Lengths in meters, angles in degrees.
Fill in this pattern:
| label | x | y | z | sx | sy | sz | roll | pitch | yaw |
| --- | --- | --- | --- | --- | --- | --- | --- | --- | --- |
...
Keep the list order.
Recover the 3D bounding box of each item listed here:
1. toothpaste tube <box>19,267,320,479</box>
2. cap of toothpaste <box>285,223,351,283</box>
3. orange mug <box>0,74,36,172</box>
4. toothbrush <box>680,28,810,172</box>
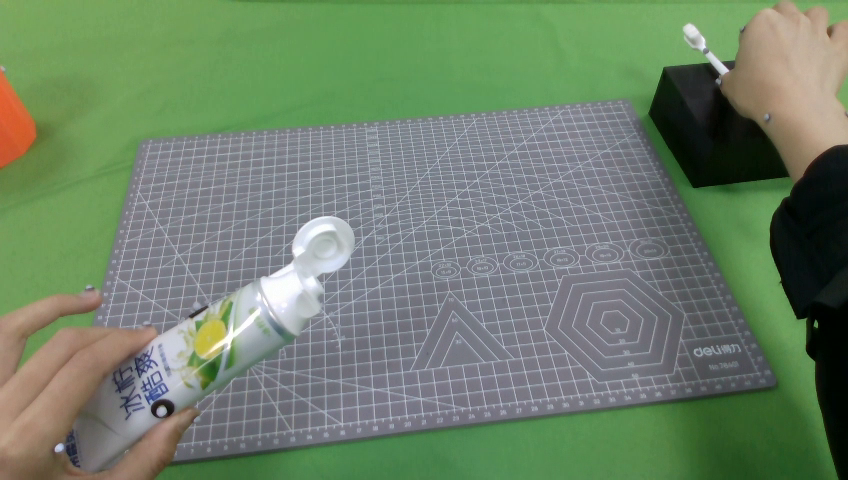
| label | x | y | z | sx | sy | sz | roll | pitch | yaw |
| --- | --- | --- | --- | --- | --- | --- | --- | --- | --- |
| toothpaste tube | -0.124 | 0.065 | 0.300 | 0.165 | 0.035 | 0.054 | -33 | 58 | -4 |
| cap of toothpaste | -0.055 | 0.008 | 0.320 | 0.037 | 0.037 | 0.011 | -24 | 32 | -17 |
| orange mug | -0.406 | -0.104 | 0.499 | 0.083 | 0.101 | 0.126 | 28 | 51 | 21 |
| toothbrush | 0.257 | -0.121 | 0.496 | 0.014 | 0.017 | 0.180 | -30 | 51 | 15 |
